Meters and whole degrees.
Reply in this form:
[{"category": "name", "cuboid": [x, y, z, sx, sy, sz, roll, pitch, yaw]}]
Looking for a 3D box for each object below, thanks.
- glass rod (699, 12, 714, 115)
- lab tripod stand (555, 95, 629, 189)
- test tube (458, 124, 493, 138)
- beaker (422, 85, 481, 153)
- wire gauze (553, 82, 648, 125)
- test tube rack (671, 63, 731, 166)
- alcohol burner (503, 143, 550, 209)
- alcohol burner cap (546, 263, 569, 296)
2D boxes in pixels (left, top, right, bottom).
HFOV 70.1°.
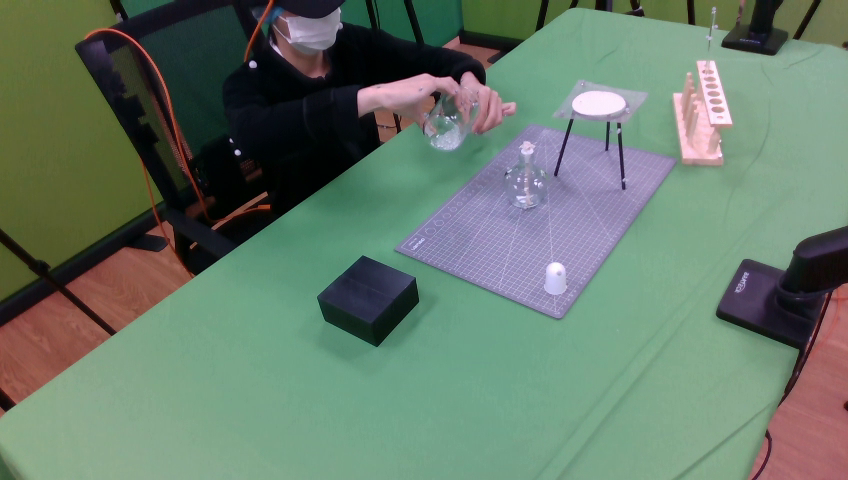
[{"category": "glass rod", "cuboid": [0.525, -0.323, 1.124, 0.008, 0.201, 0.008, -8, 38, 6]}, {"category": "lab tripod stand", "cuboid": [0.300, -0.174, 1.045, 0.148, 0.132, 0.147, -5, 38, 5]}, {"category": "test tube", "cuboid": [0.097, -0.199, 1.107, 0.017, 0.017, 0.151, 13, 10, 23]}, {"category": "beaker", "cuboid": [0.044, -0.193, 0.984, 0.073, 0.084, 0.100, 4, 40, 23]}, {"category": "wire gauze", "cuboid": [0.293, -0.225, 1.002, 0.120, 0.011, 0.125, 17, 45, 27]}, {"category": "test tube rack", "cuboid": [0.513, -0.241, 1.132, 0.066, 0.085, 0.242, 4, 41, 14]}, {"category": "alcohol burner", "cuboid": [0.171, -0.112, 1.006, 0.078, 0.119, 0.077, -3, 41, 3]}, {"category": "alcohol burner cap", "cuboid": [0.191, 0.053, 0.862, 0.034, 0.048, 0.033, -5, 40, 4]}]
